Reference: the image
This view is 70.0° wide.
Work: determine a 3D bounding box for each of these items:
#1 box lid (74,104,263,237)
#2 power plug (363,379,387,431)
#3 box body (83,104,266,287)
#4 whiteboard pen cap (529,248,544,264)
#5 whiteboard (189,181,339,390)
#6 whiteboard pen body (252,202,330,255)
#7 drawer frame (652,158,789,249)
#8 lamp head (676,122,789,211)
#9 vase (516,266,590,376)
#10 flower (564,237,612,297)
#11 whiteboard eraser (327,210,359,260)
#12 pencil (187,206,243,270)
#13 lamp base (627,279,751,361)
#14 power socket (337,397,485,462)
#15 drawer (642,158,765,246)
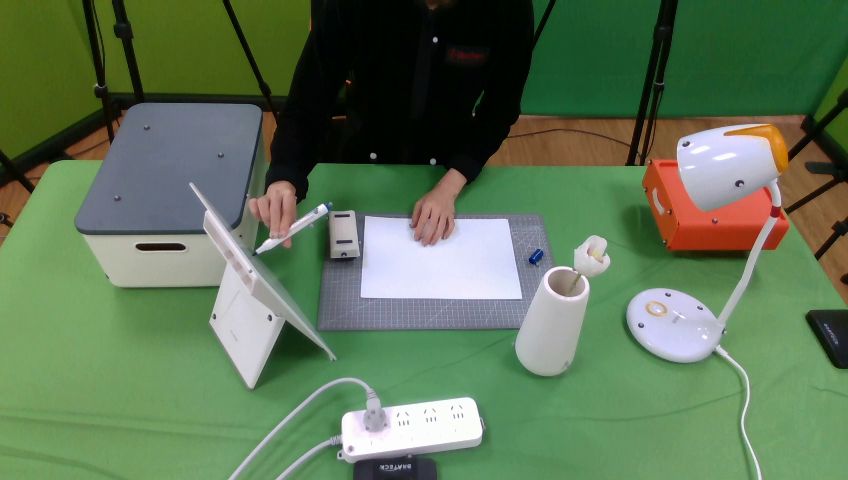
[{"bbox_3d":[-0.443,-0.139,1.095,0.263,0.015,0.369,-1,45,-5],"label":"box lid"},{"bbox_3d":[-0.072,0.252,0.910,0.035,0.053,0.072,3,45,-1],"label":"power plug"},{"bbox_3d":[-0.447,-0.088,1.150,0.254,0.161,0.361,-1,46,-5],"label":"box body"},{"bbox_3d":[0.219,0.032,1.183,0.018,0.018,0.033,31,51,23],"label":"whiteboard pen cap"},{"bbox_3d":[-0.292,0.096,0.929,0.144,0.307,0.216,-37,57,-10],"label":"whiteboard"},{"bbox_3d":[-0.207,-0.016,0.940,0.141,0.017,0.017,-35,57,-17],"label":"whiteboard pen body"},{"bbox_3d":[0.571,-0.075,1.214,0.214,0.083,0.200,0,45,-1],"label":"drawer frame"},{"bbox_3d":[0.423,-0.104,0.819,0.122,0.113,0.112,-13,33,40],"label":"lamp head"},{"bbox_3d":[0.208,0.132,0.964,0.098,0.201,0.097,3,46,-3],"label":"vase"},{"bbox_3d":[0.206,0.088,0.892,0.038,0.363,0.044,-17,67,-9],"label":"flower"},{"bbox_3d":[-0.158,-0.010,1.176,0.055,0.042,0.112,-5,47,-7],"label":"whiteboard eraser"},{"bbox_3d":[-0.401,-0.008,1.176,0.012,0.012,0.193,15,44,10],"label":"pencil"},{"bbox_3d":[0.459,0.100,1.027,0.178,0.181,0.160,27,51,17],"label":"lamp base"},{"bbox_3d":[-0.018,0.285,0.915,0.227,0.033,0.071,-5,46,-8],"label":"power socket"},{"bbox_3d":[0.565,-0.076,1.211,0.212,0.073,0.193,2,45,-2],"label":"drawer"}]
